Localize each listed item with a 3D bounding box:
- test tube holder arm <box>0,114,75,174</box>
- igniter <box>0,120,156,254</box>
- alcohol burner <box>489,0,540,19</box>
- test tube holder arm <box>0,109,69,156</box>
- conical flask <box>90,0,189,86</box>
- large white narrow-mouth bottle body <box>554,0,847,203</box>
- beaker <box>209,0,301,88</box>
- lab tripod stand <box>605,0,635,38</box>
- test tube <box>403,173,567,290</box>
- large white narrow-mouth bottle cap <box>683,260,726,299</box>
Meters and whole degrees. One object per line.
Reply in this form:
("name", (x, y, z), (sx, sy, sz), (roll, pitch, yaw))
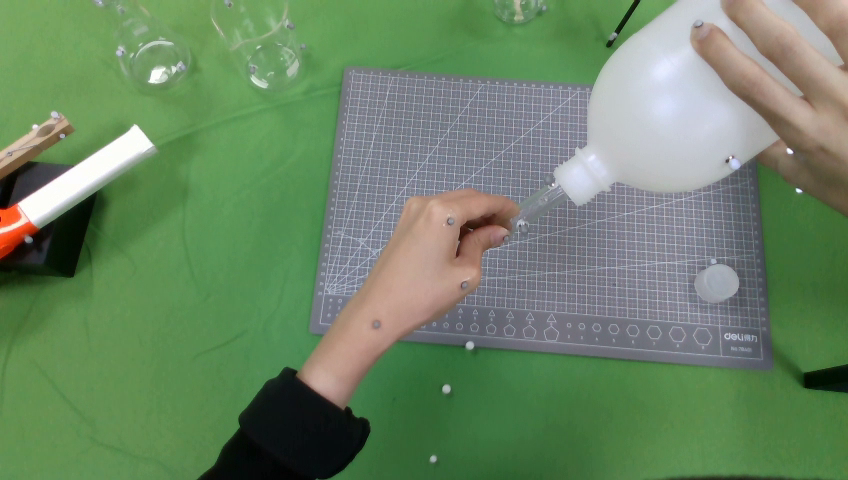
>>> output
("test tube holder arm", (-0.378, -0.090, 0.580), (0.088, 0.015, 0.010), (-38, 77, -12))
("igniter", (-0.375, -0.021, 0.556), (0.276, 0.025, 0.057), (-39, 79, -15))
("alcohol burner", (0.103, -0.297, 0.651), (0.078, 0.120, 0.077), (1, 71, -2))
("test tube holder arm", (-0.416, -0.066, 0.572), (0.178, 0.015, 0.013), (-39, 77, -12))
("conical flask", (-0.296, -0.218, 0.616), (0.075, 0.122, 0.075), (0, 72, 0))
("large white narrow-mouth bottle body", (0.162, -0.091, 0.358), (0.195, 0.102, 0.101), (-39, 75, 18))
("beaker", (-0.171, -0.210, 0.627), (0.074, 0.101, 0.083), (19, 74, 6))
("lab tripod stand", (0.272, -0.282, 0.638), (0.148, 0.132, 0.147), (1, 72, -2))
("test tube", (0.040, -0.002, 0.434), (0.150, 0.017, 0.017), (-35, 72, 30))
("large white narrow-mouth bottle cap", (0.278, 0.039, 0.598), (0.038, 0.024, 0.037), (0, 74, 0))
